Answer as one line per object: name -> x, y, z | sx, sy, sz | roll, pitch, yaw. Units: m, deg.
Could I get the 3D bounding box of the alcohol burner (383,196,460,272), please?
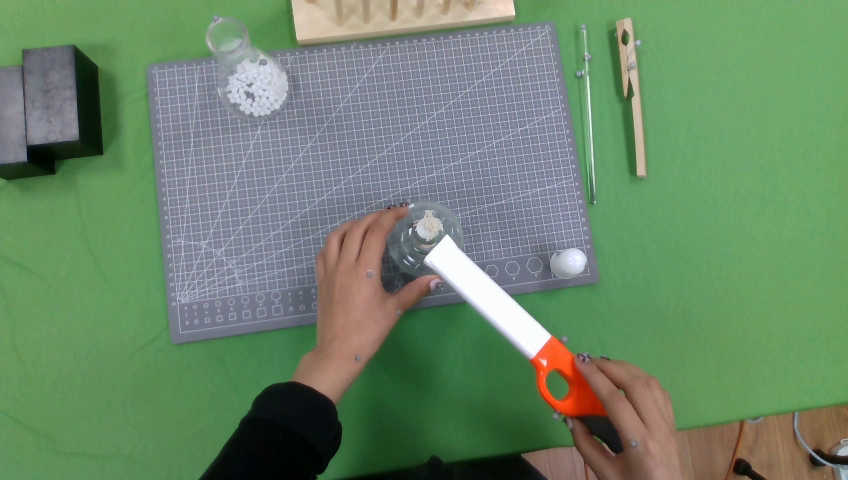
alcohol burner -> -0.002, -0.009, 0.590 | 0.078, 0.119, 0.077 | 0, 81, -2

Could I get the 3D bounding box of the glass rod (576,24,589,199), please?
glass rod -> 0.177, -0.143, 0.674 | 0.008, 0.008, 0.199 | -1, 85, -4

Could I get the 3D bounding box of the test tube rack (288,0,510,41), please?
test tube rack -> -0.026, -0.274, 0.640 | 0.242, 0.085, 0.066 | -8, 83, -5

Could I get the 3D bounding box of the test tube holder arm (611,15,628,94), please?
test tube holder arm -> 0.221, -0.208, 0.682 | 0.010, 0.015, 0.087 | -9, 83, 30

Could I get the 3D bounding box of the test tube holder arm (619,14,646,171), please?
test tube holder arm -> 0.231, -0.164, 0.675 | 0.013, 0.015, 0.178 | -10, 83, 30

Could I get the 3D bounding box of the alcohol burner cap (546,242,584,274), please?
alcohol burner cap -> 0.149, 0.017, 0.633 | 0.034, 0.048, 0.033 | 1, 81, -3

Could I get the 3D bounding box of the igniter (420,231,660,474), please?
igniter -> 0.105, 0.099, 0.531 | 0.276, 0.025, 0.057 | 44, 77, -1

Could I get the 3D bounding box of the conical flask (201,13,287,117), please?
conical flask -> -0.182, -0.175, 0.595 | 0.075, 0.122, 0.075 | 1, 82, -3
